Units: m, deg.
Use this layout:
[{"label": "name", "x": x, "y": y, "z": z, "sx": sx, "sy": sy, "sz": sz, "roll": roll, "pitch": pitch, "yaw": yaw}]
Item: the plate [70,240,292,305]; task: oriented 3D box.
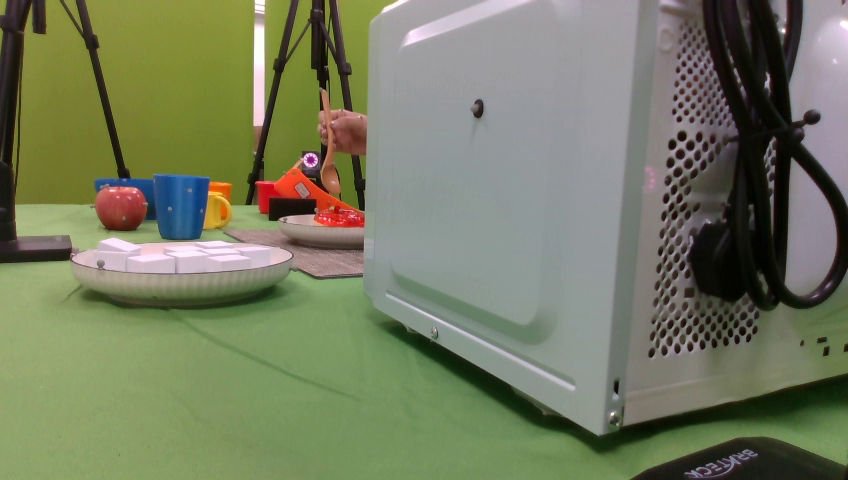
[{"label": "plate", "x": -0.242, "y": 0.031, "z": 0.618, "sx": 0.208, "sy": 0.039, "sz": 0.207, "roll": 2, "pitch": 8, "yaw": 0}]

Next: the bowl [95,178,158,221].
[{"label": "bowl", "x": -0.576, "y": -0.081, "z": 1.217, "sx": 0.151, "sy": 0.077, "sz": 0.151, "roll": 3, "pitch": 8, "yaw": 0}]

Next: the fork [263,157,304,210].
[{"label": "fork", "x": -0.345, "y": -0.143, "z": 1.505, "sx": 0.028, "sy": 0.019, "sz": 0.207, "roll": -4, "pitch": 46, "yaw": 28}]

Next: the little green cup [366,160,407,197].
[{"label": "little green cup", "x": -0.057, "y": -0.096, "z": 0.960, "sx": 0.061, "sy": 0.038, "sz": 0.061, "roll": -27, "pitch": -3, "yaw": -1}]

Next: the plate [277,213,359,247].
[{"label": "plate", "x": -0.134, "y": -0.017, "z": 0.993, "sx": 0.209, "sy": 0.038, "sz": 0.209, "roll": 2, "pitch": 7, "yaw": 0}]

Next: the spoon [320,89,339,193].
[{"label": "spoon", "x": -0.165, "y": -0.172, "z": 1.038, "sx": 0.021, "sy": 0.193, "sz": 0.042, "roll": -13, "pitch": -15, "yaw": 37}]

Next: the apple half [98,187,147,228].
[{"label": "apple half", "x": -0.534, "y": -0.059, "z": 1.071, "sx": 0.082, "sy": 0.081, "sz": 0.032, "roll": -1, "pitch": 10, "yaw": -26}]

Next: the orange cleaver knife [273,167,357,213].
[{"label": "orange cleaver knife", "x": -0.238, "y": -0.091, "z": 1.381, "sx": 0.212, "sy": 0.077, "sz": 0.012, "roll": 31, "pitch": 0, "yaw": -19}]

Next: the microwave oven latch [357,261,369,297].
[{"label": "microwave oven latch", "x": -0.019, "y": 0.033, "z": 0.531, "sx": 0.079, "sy": 0.029, "sz": 0.030, "roll": -1, "pitch": 7, "yaw": -27}]

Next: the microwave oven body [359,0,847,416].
[{"label": "microwave oven body", "x": 0.211, "y": -0.047, "z": 0.474, "sx": 0.444, "sy": 0.260, "sz": 0.324, "roll": -1, "pitch": 7, "yaw": -28}]

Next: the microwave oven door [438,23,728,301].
[{"label": "microwave oven door", "x": 0.181, "y": -0.072, "z": 0.620, "sx": 0.358, "sy": 0.243, "sz": 0.039, "roll": -2, "pitch": 8, "yaw": -29}]

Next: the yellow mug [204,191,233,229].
[{"label": "yellow mug", "x": -0.415, "y": -0.057, "z": 1.131, "sx": 0.130, "sy": 0.064, "sz": 0.100, "roll": 6, "pitch": 7, "yaw": 16}]

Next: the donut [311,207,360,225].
[{"label": "donut", "x": -0.137, "y": -0.028, "z": 0.995, "sx": 0.099, "sy": 0.048, "sz": 0.099, "roll": 4, "pitch": 8, "yaw": 0}]

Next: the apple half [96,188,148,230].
[{"label": "apple half", "x": -0.517, "y": -0.052, "z": 1.036, "sx": 0.081, "sy": 0.074, "sz": 0.053, "roll": 3, "pitch": 10, "yaw": -26}]

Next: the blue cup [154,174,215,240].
[{"label": "blue cup", "x": -0.391, "y": -0.053, "z": 0.978, "sx": 0.093, "sy": 0.100, "sz": 0.092, "roll": 4, "pitch": 6, "yaw": 0}]
